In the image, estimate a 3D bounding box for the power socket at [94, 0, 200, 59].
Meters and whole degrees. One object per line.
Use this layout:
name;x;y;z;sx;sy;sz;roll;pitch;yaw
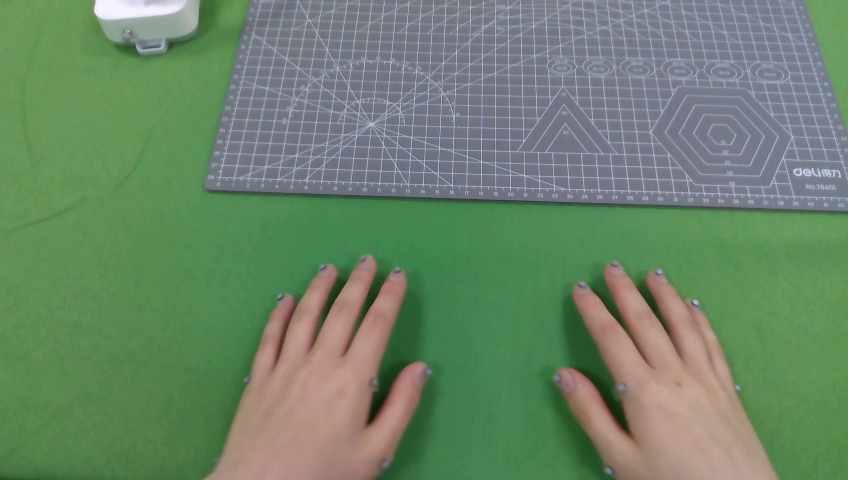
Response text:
power socket;-0.224;-0.248;0.509;0.072;0.033;0.224;-5;63;-3
